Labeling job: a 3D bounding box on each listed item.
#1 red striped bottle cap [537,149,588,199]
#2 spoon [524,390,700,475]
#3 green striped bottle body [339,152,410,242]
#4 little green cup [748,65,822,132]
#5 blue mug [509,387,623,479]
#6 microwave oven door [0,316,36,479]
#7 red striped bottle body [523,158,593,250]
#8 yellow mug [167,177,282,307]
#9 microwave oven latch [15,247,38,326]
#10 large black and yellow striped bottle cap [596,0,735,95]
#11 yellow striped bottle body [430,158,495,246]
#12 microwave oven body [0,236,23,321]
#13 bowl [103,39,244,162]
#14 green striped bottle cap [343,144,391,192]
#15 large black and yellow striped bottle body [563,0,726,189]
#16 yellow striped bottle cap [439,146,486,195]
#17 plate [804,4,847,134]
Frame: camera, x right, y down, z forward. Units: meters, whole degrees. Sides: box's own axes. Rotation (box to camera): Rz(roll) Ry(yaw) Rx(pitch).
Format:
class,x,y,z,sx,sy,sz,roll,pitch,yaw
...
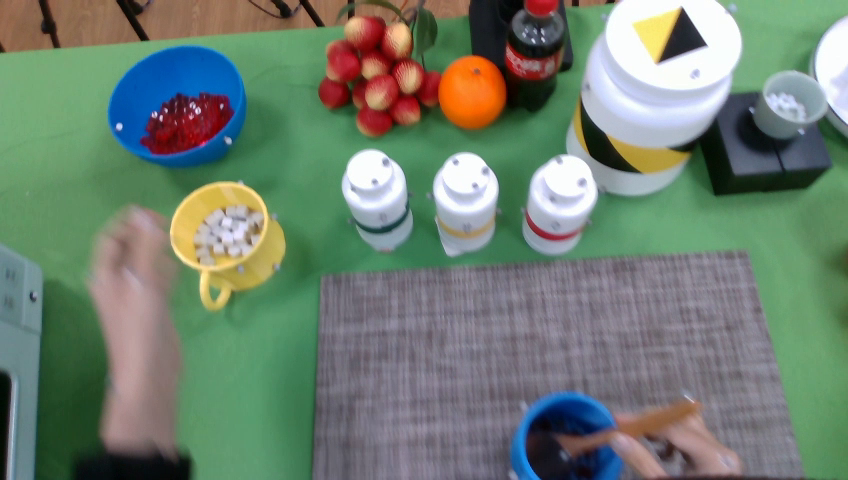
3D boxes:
class,x,y,z,sx,sy,sz,roll,pitch,yaw
red striped bottle cap,0.128,-0.061,0.556,0.044,0.018,0.044,0,66,0
spoon,0.139,0.153,0.477,0.022,0.194,0.041,-21,74,-35
green striped bottle body,-0.050,-0.048,0.618,0.063,0.120,0.062,-1,67,3
little green cup,0.367,-0.143,0.621,0.061,0.039,0.061,-1,66,2
blue mug,0.104,0.186,0.516,0.116,0.106,0.082,-38,69,-11
microwave oven door,-0.384,0.207,0.448,0.039,0.245,0.353,-12,67,-2
red striped bottle body,0.132,-0.040,0.604,0.063,0.120,0.062,-2,66,6
yellow mug,-0.210,0.006,0.635,0.100,0.064,0.130,6,69,6
microwave oven latch,-0.419,0.049,0.625,0.030,0.030,0.078,-11,68,-1
large black and yellow striped bottle cap,0.210,-0.179,0.530,0.115,0.019,0.114,-2,66,4
yellow striped bottle body,0.039,-0.045,0.611,0.063,0.121,0.062,-2,67,4
microwave oven body,-0.534,0.201,0.465,0.326,0.262,0.438,-12,68,-2
bowl,-0.271,-0.145,0.695,0.151,0.077,0.150,-1,68,3
green striped bottle cap,-0.054,-0.068,0.571,0.044,0.020,0.044,-2,65,4
large black and yellow striped bottle body,0.217,-0.147,0.608,0.131,0.185,0.130,-1,67,3
yellow striped bottle cap,0.036,-0.065,0.564,0.044,0.019,0.044,-1,68,3
plate,0.533,-0.181,0.682,0.209,0.038,0.207,-1,68,3
